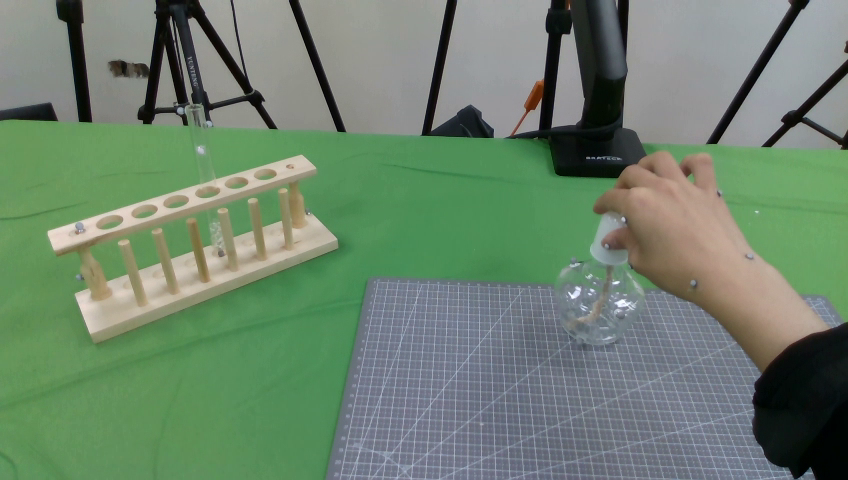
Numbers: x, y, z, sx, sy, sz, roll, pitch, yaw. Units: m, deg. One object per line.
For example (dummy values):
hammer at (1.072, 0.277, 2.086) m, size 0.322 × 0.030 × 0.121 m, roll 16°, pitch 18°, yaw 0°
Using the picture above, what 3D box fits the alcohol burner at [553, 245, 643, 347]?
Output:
alcohol burner at (0.153, 0.035, 0.522) m, size 0.078 × 0.120 × 0.077 m, roll 1°, pitch 39°, yaw -1°

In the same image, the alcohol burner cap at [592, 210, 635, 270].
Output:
alcohol burner cap at (0.156, -0.002, 0.494) m, size 0.034 × 0.048 × 0.033 m, roll -2°, pitch 40°, yaw 2°

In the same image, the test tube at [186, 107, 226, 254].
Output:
test tube at (-0.205, -0.052, 0.577) m, size 0.017 × 0.151 × 0.017 m, roll 1°, pitch 31°, yaw 0°

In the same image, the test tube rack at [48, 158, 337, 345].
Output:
test tube rack at (-0.210, 0.003, 0.586) m, size 0.243 × 0.086 × 0.066 m, roll -23°, pitch 43°, yaw -28°
